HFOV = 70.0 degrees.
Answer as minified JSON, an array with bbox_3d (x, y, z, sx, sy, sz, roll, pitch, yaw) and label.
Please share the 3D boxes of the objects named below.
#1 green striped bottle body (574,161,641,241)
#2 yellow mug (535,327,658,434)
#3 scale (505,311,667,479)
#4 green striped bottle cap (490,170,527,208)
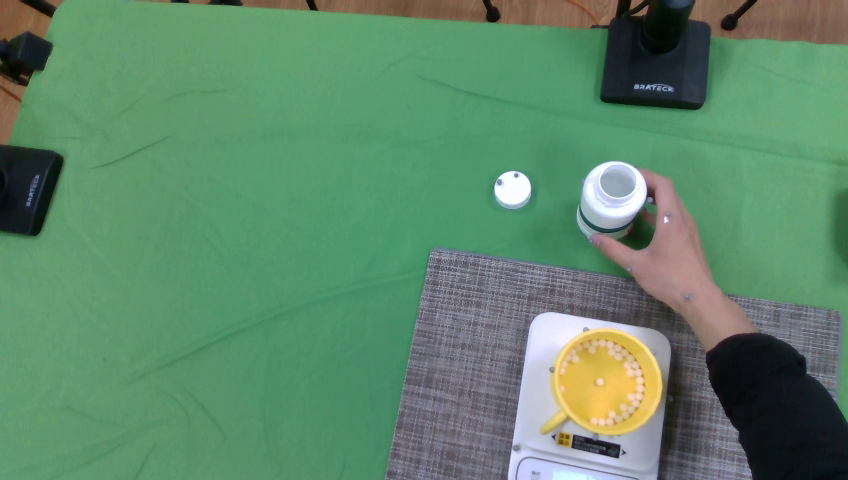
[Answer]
[{"bbox_3d":[0.197,-0.043,0.655,0.063,0.120,0.063,-2,75,10],"label":"green striped bottle body"},{"bbox_3d":[0.162,0.150,0.603,0.131,0.064,0.099,-40,74,-2],"label":"yellow mug"},{"bbox_3d":[0.172,0.182,0.643,0.148,0.032,0.200,8,78,11],"label":"scale"},{"bbox_3d":[0.102,-0.061,0.729,0.044,0.020,0.044,-1,81,9],"label":"green striped bottle cap"}]
